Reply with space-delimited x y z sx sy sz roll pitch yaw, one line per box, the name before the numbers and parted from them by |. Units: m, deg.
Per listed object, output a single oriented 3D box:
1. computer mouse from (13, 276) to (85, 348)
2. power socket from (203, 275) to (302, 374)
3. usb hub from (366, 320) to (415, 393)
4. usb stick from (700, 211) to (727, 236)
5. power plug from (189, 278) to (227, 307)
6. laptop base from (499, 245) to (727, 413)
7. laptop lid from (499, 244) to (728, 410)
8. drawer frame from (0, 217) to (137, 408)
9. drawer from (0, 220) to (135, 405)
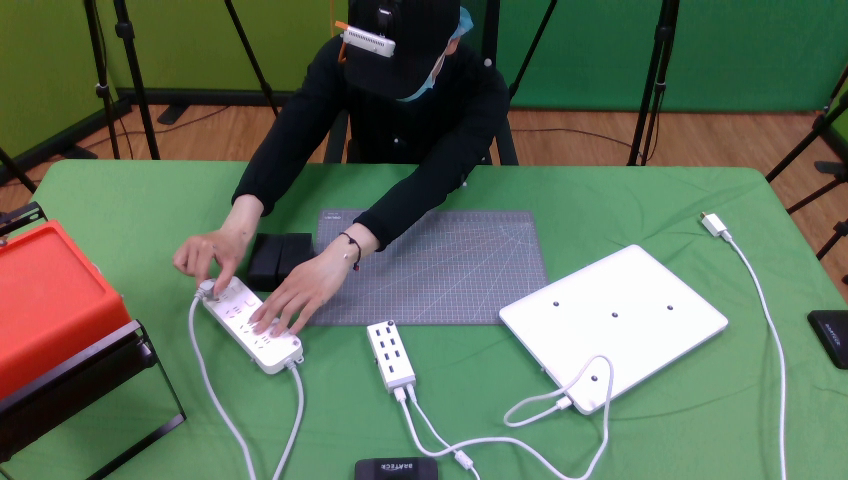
computer mouse | -0.496 0.090 0.804 0.063 0.041 0.116 -7 42 -7
power socket | -0.296 0.141 1.034 0.072 0.033 0.225 -34 58 -30
usb hub | -0.056 0.192 1.009 0.049 0.025 0.124 -12 49 -16
usb stick | 0.606 -0.038 1.273 0.027 0.021 0.059 -18 57 -20
power plug | -0.368 0.092 1.025 0.035 0.053 0.072 35 60 25
laptop base | 0.339 0.145 1.088 0.354 0.023 0.234 -23 49 -24
laptop lid | 0.339 0.135 1.081 0.357 0.013 0.240 -21 50 -23
drawer frame | -0.523 0.094 0.779 0.200 0.083 0.213 37 55 26
drawer | -0.522 0.093 0.782 0.193 0.073 0.211 37 55 27
